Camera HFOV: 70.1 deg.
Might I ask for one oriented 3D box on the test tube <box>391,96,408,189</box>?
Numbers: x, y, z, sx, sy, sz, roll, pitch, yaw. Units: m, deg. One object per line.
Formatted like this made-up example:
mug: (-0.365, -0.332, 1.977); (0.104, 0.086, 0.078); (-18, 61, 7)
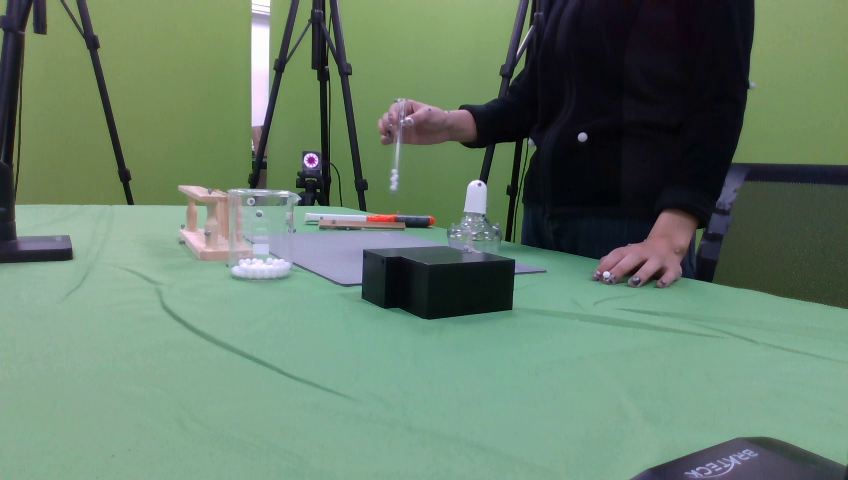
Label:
test tube: (-0.038, -0.154, 0.959); (0.017, 0.150, 0.017); (4, -6, 1)

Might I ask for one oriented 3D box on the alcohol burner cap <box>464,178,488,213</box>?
alcohol burner cap: (0.073, -0.060, 0.824); (0.034, 0.048, 0.034); (6, 4, 0)

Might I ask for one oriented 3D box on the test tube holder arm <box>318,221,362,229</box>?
test tube holder arm: (-0.166, -0.031, 1.203); (0.088, 0.015, 0.010); (0, -23, -20)

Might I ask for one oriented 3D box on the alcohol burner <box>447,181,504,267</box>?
alcohol burner: (0.070, -0.024, 0.828); (0.078, 0.119, 0.078); (1, 7, 0)

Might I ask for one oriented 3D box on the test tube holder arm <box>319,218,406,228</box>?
test tube holder arm: (-0.122, -0.032, 1.214); (0.179, 0.015, 0.013); (1, -23, -20)

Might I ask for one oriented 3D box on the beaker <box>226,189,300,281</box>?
beaker: (-0.184, -0.007, 0.694); (0.084, 0.100, 0.073); (-1, 8, -29)

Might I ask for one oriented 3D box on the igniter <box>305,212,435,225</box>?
igniter: (-0.113, -0.046, 1.299); (0.277, 0.025, 0.057); (1, -3, -12)

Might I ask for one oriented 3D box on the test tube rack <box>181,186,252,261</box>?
test tube rack: (-0.312, -0.031, 0.893); (0.067, 0.085, 0.241); (-1, 8, -27)
